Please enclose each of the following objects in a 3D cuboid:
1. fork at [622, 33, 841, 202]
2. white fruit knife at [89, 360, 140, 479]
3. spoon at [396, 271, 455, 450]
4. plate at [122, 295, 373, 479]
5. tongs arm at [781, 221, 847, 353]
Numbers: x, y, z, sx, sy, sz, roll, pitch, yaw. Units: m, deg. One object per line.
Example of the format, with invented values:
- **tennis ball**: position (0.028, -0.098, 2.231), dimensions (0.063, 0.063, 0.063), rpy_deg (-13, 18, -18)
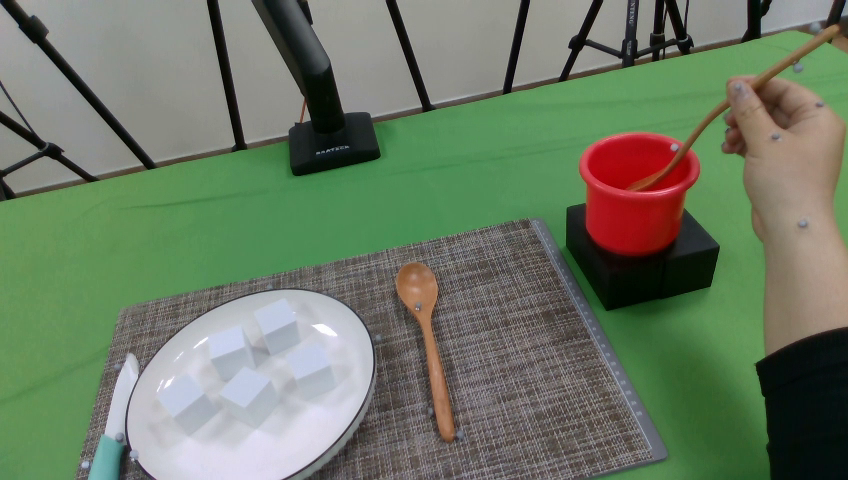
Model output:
- **fork**: position (0.226, -0.084, 0.473), dimensions (0.028, 0.208, 0.018), rpy_deg (-35, 78, -36)
- **white fruit knife**: position (-0.260, 0.177, 0.506), dimensions (0.027, 0.016, 0.205), rpy_deg (10, 32, -22)
- **spoon**: position (0.003, 0.098, 0.539), dimensions (0.042, 0.022, 0.191), rpy_deg (3, 38, -13)
- **plate**: position (-0.144, 0.133, 0.515), dimensions (0.207, 0.039, 0.205), rpy_deg (-5, 40, 5)
- **tongs arm**: position (0.356, 0.114, 0.451), dimensions (0.028, 0.028, 0.383), rpy_deg (-3, 40, 4)
